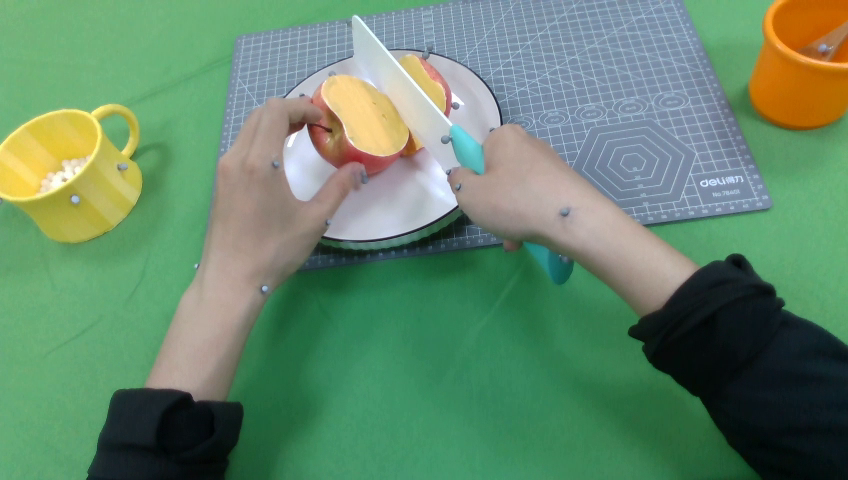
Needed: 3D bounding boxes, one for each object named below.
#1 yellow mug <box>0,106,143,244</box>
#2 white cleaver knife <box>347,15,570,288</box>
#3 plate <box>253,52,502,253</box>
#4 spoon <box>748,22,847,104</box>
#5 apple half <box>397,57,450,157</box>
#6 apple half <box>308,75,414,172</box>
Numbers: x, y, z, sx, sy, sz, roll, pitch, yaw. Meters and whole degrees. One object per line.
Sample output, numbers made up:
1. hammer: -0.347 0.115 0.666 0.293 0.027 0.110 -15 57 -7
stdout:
1. yellow mug: -0.304 -0.067 0.538 0.099 0.064 0.130 24 64 22
2. white cleaver knife: 0.015 -0.073 0.457 0.021 0.066 0.283 -28 62 -14
3. plate: -0.038 -0.074 0.513 0.209 0.038 0.207 -4 58 7
4. spoon: 0.334 -0.169 0.448 0.022 0.194 0.041 17 47 -32
5. apple half: -0.005 -0.110 0.513 0.033 0.081 0.080 -9 46 -45
6. apple half: -0.054 -0.087 0.489 0.075 0.053 0.080 -26 71 -43
